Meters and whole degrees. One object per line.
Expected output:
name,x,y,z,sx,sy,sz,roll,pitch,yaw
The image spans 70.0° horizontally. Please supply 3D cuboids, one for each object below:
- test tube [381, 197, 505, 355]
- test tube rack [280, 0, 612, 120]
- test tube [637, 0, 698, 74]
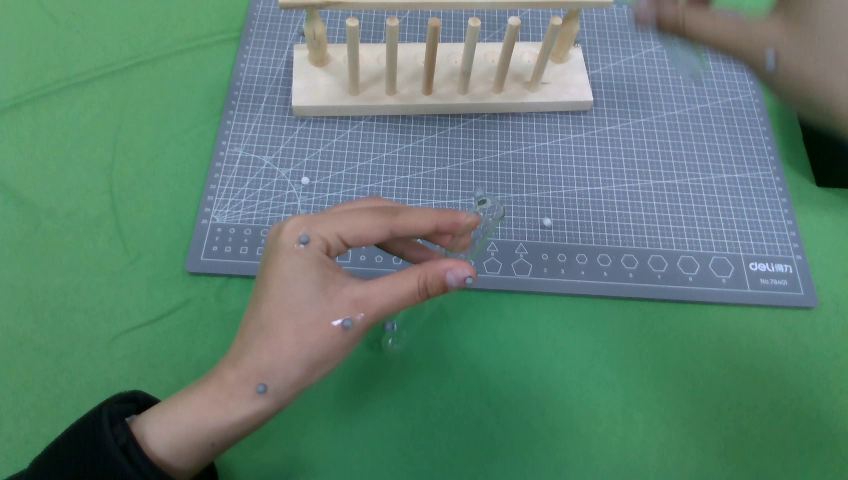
test tube,0.005,0.027,0.338,0.017,0.151,0.017,14,50,-17
test tube rack,0.017,-0.149,0.473,0.243,0.086,0.066,-2,62,-5
test tube,0.109,-0.119,0.288,0.017,0.151,0.017,-11,69,32
